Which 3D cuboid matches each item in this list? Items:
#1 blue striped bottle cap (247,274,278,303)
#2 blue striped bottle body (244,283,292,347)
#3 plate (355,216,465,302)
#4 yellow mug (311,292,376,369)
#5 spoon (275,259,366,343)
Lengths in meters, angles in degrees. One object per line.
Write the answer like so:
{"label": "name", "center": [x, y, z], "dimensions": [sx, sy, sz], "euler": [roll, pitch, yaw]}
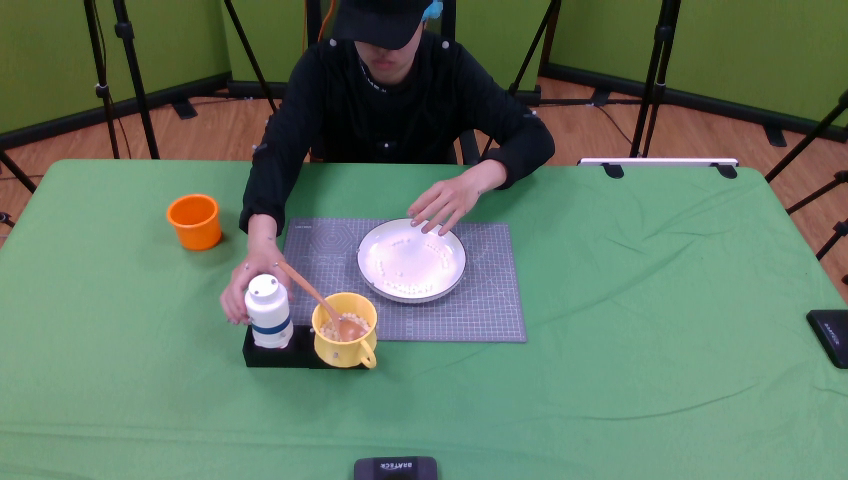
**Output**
{"label": "blue striped bottle cap", "center": [-0.239, 0.072, 0.900], "dimensions": [0.044, 0.021, 0.044], "euler": [5, 47, -5]}
{"label": "blue striped bottle body", "center": [-0.241, 0.108, 0.936], "dimensions": [0.063, 0.121, 0.062], "euler": [2, 47, -2]}
{"label": "plate", "center": [-0.026, 0.039, 1.144], "dimensions": [0.208, 0.039, 0.206], "euler": [2, 46, -2]}
{"label": "yellow mug", "center": [-0.115, 0.149, 0.945], "dimensions": [0.100, 0.064, 0.130], "euler": [-30, 57, -28]}
{"label": "spoon", "center": [-0.161, 0.098, 0.946], "dimensions": [0.194, 0.021, 0.041], "euler": [48, 57, -5]}
